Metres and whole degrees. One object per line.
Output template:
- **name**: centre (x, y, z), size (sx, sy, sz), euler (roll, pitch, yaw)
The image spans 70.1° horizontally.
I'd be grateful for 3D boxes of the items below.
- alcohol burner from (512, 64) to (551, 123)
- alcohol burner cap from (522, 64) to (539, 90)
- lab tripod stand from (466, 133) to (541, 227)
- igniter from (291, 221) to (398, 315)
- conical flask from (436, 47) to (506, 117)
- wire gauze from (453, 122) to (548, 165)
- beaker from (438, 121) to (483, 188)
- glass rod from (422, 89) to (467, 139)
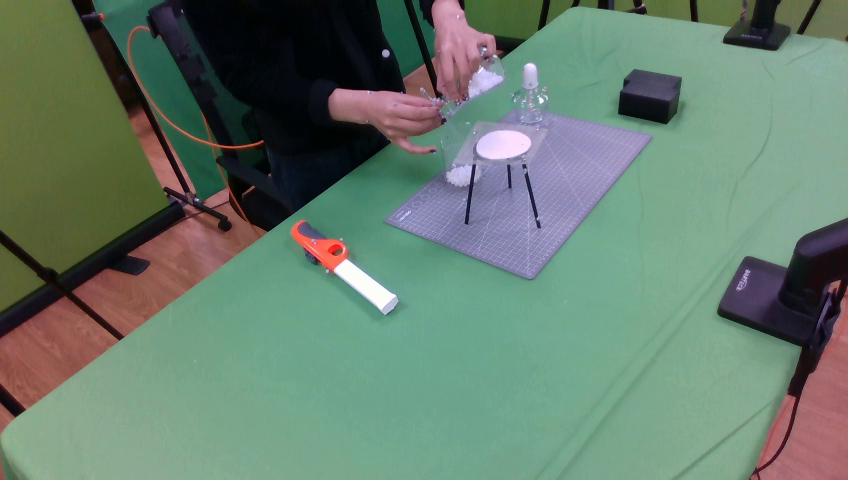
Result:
- **alcohol burner**: centre (0.215, -0.298, 1.220), size (0.078, 0.120, 0.077), euler (-7, 40, 7)
- **alcohol burner cap**: centre (0.210, -0.325, 1.195), size (0.034, 0.048, 0.033), euler (-6, 45, 7)
- **lab tripod stand**: centre (0.129, -0.099, 0.985), size (0.148, 0.132, 0.147), euler (-6, 38, 6)
- **igniter**: centre (-0.136, 0.037, 0.962), size (0.057, 0.025, 0.274), euler (-41, 48, -18)
- **conical flask**: centre (0.074, -0.259, 1.015), size (0.122, 0.076, 0.074), euler (-46, 50, -12)
- **wire gauze**: centre (0.121, -0.150, 0.942), size (0.121, 0.011, 0.125), euler (8, 42, 21)
- **beaker**: centre (0.066, -0.149, 1.083), size (0.073, 0.101, 0.084), euler (20, 49, 31)
- **glass rod**: centre (0.038, -0.206, 1.006), size (0.008, 0.201, 0.008), euler (-5, 76, 22)
